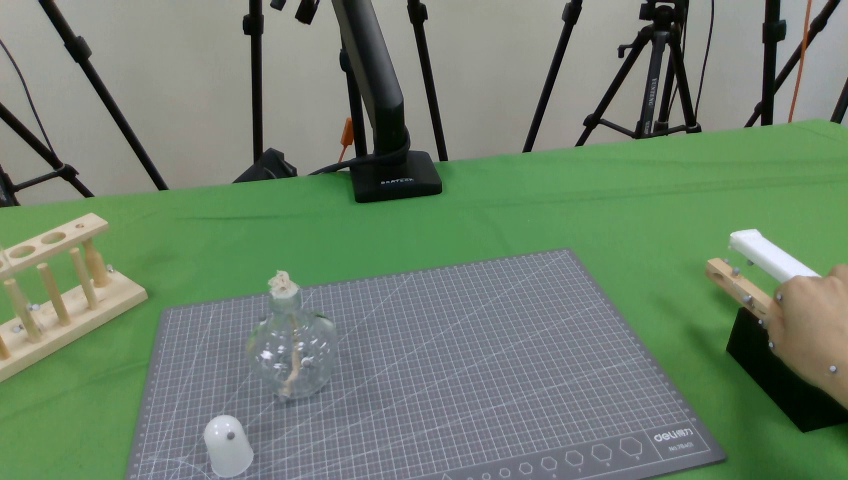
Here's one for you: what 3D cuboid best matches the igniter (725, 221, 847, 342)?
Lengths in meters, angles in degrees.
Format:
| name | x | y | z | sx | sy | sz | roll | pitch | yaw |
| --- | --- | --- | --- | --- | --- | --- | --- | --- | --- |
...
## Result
| name | x | y | z | sx | sy | sz | roll | pitch | yaw |
| --- | --- | --- | --- | --- | --- | --- | --- | --- | --- |
| igniter | 0.353 | 0.057 | 0.509 | 0.057 | 0.025 | 0.273 | -9 | 32 | -10 |

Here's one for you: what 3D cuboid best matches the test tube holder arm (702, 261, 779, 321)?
| name | x | y | z | sx | sy | sz | roll | pitch | yaw |
| --- | --- | --- | --- | --- | --- | --- | --- | --- | --- |
| test tube holder arm | 0.285 | 0.042 | 0.543 | 0.015 | 0.010 | 0.087 | -18 | 34 | -11 |

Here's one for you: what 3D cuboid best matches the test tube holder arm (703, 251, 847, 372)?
| name | x | y | z | sx | sy | sz | roll | pitch | yaw |
| --- | --- | --- | --- | --- | --- | --- | --- | --- | --- |
| test tube holder arm | 0.299 | 0.060 | 0.504 | 0.015 | 0.013 | 0.176 | -18 | 35 | -11 |

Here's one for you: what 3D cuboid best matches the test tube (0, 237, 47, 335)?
| name | x | y | z | sx | sy | sz | roll | pitch | yaw |
| --- | --- | --- | --- | --- | --- | --- | --- | --- | --- |
| test tube | -0.370 | 0.025 | 0.535 | 0.017 | 0.151 | 0.017 | -1 | 35 | 1 |

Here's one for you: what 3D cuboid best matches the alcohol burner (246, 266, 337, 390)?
| name | x | y | z | sx | sy | sz | roll | pitch | yaw |
| --- | --- | --- | --- | --- | --- | --- | --- | --- | --- |
| alcohol burner | -0.113 | 0.069 | 0.511 | 0.078 | 0.120 | 0.077 | 0 | 36 | 0 |

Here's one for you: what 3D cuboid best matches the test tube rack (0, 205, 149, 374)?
| name | x | y | z | sx | sy | sz | roll | pitch | yaw |
| --- | --- | --- | --- | --- | --- | --- | --- | --- | --- |
| test tube rack | -0.393 | 0.063 | 0.560 | 0.066 | 0.086 | 0.242 | 23 | 41 | 31 |

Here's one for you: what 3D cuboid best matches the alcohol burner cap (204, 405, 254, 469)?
| name | x | y | z | sx | sy | sz | roll | pitch | yaw |
| --- | --- | --- | --- | --- | --- | --- | --- | --- | --- |
| alcohol burner cap | -0.150 | 0.147 | 0.461 | 0.034 | 0.048 | 0.033 | 0 | 34 | 0 |
